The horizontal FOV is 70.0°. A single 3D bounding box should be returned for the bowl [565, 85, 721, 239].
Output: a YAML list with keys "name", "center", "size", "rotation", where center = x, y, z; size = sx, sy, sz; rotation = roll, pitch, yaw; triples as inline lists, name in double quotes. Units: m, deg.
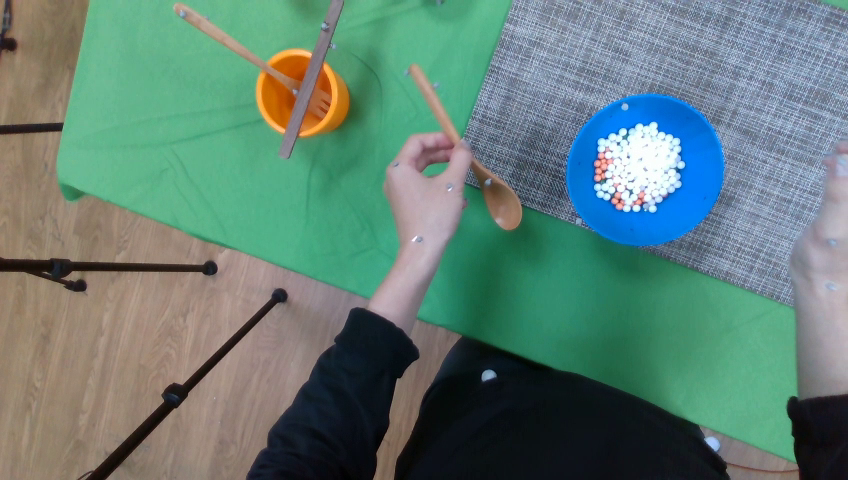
- name: "bowl"
  center: [0.221, -0.080, 0.636]
  size: [0.151, 0.077, 0.151]
  rotation: [1, 99, 9]

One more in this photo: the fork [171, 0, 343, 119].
- name: "fork"
  center: [-0.171, -0.190, 0.645]
  size: [0.209, 0.018, 0.028]
  rotation: [29, 109, -41]

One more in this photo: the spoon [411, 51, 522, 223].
- name: "spoon"
  center: [0.042, -0.100, 0.600]
  size: [0.041, 0.021, 0.195]
  rotation: [-15, 116, 48]

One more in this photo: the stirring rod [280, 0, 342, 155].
- name: "stirring rod"
  center: [-0.120, -0.173, 0.637]
  size: [0.014, 0.006, 0.176]
  rotation: [22, 102, 6]
